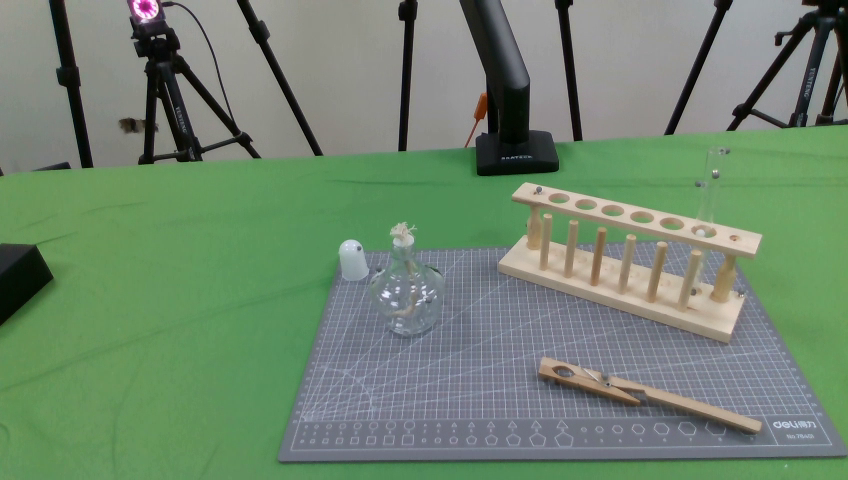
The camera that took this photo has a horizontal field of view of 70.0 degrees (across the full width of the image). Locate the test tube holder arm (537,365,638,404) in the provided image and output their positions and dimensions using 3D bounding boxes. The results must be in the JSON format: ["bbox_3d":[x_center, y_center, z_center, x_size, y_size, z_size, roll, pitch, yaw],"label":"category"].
[{"bbox_3d":[0.143,0.126,0.530,0.087,0.015,0.010,11,71,22],"label":"test tube holder arm"}]

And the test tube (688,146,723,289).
[{"bbox_3d":[0.262,-0.017,0.573,0.017,0.151,0.017,-4,31,3],"label":"test tube"}]

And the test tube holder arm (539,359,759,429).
[{"bbox_3d":[0.186,0.129,0.515,0.177,0.015,0.013,10,71,22],"label":"test tube holder arm"}]

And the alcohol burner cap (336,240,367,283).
[{"bbox_3d":[-0.085,0.022,0.696,0.034,0.048,0.033,-3,35,2],"label":"alcohol burner cap"}]

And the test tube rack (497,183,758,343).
[{"bbox_3d":[0.196,0.016,0.623,0.240,0.086,0.066,17,40,30],"label":"test tube rack"}]

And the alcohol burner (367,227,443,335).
[{"bbox_3d":[-0.020,0.036,0.601,0.078,0.120,0.077,-3,36,2],"label":"alcohol burner"}]
